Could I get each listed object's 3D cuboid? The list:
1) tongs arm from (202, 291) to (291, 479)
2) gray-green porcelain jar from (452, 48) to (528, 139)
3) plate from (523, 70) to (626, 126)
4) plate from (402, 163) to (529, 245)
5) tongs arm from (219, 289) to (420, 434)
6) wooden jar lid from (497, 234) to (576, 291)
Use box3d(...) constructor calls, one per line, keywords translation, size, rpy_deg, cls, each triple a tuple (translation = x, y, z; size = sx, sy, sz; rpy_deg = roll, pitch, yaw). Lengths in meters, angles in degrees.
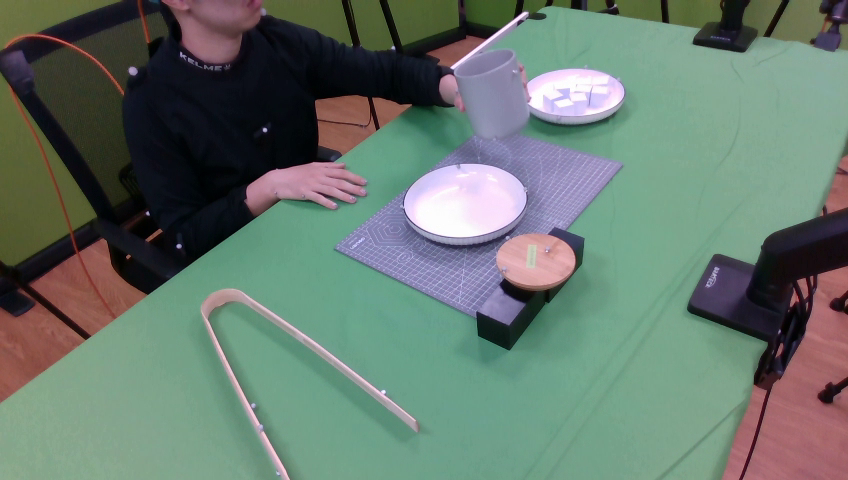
box3d(translation=(-0.216, 0.186, 0.772), size=(0.051, 0.026, 0.381), rpy_deg=(-27, 44, -24), cls="tongs arm")
box3d(translation=(0.115, -0.244, 1.028), size=(0.105, 0.127, 0.105), rpy_deg=(-15, 33, 11), cls="gray-green porcelain jar")
box3d(translation=(0.308, -0.289, 1.251), size=(0.207, 0.039, 0.206), rpy_deg=(-4, 40, 4), cls="plate")
box3d(translation=(0.069, -0.056, 1.008), size=(0.209, 0.038, 0.208), rpy_deg=(-4, 40, 4), cls="plate")
box3d(translation=(-0.152, 0.151, 0.811), size=(0.384, 0.028, 0.028), rpy_deg=(26, 53, 33), cls="tongs arm")
box3d(translation=(0.155, 0.032, 0.834), size=(0.108, 0.021, 0.108), rpy_deg=(-5, 40, 5), cls="wooden jar lid")
